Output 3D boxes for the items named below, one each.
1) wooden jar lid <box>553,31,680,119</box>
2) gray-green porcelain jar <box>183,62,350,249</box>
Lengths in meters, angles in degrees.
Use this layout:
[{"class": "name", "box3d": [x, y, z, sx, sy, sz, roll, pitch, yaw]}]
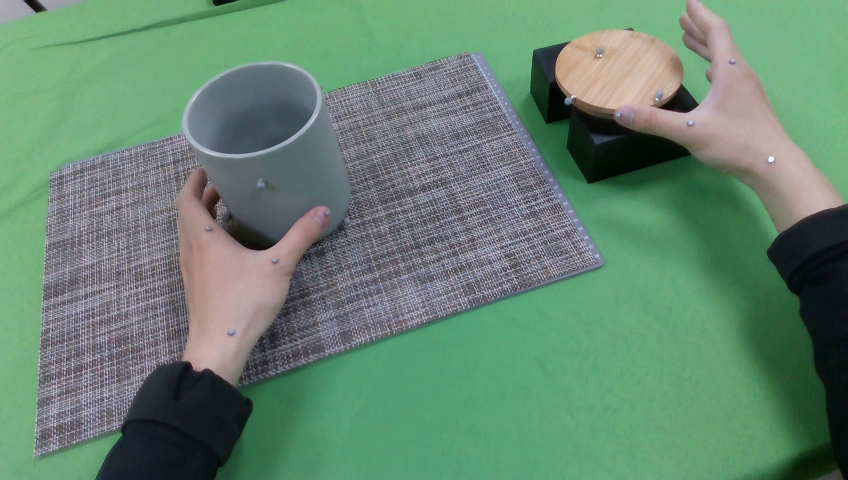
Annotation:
[{"class": "wooden jar lid", "box3d": [0.168, -0.146, 0.536, 0.108, 0.021, 0.107, -3, 55, 4]}, {"class": "gray-green porcelain jar", "box3d": [-0.121, -0.062, 0.500, 0.106, 0.128, 0.105, -3, 54, 5]}]
